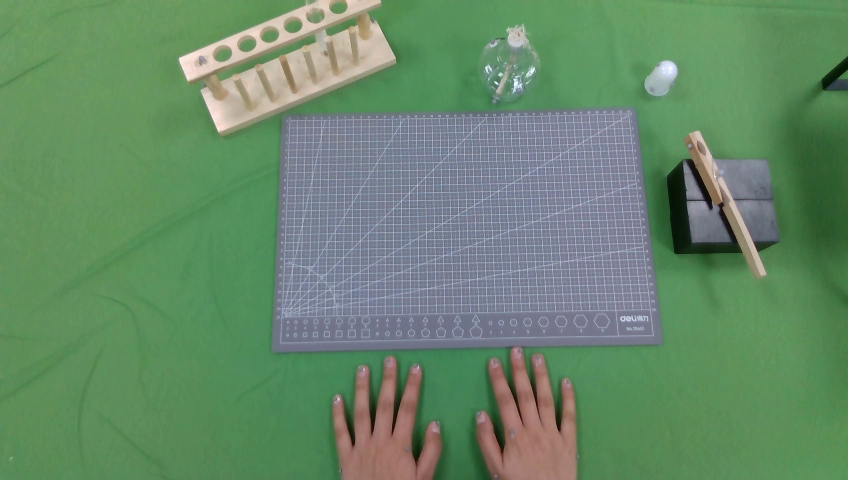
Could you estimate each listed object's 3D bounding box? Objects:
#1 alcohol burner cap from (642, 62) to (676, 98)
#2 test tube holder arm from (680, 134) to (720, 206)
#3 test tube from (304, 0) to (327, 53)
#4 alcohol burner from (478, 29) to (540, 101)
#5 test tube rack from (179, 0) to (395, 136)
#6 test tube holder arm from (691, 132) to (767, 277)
[{"bbox_3d":[0.299,-0.204,0.765,0.034,0.048,0.033,0,75,1],"label":"alcohol burner cap"},{"bbox_3d":[0.319,-0.080,0.694,0.010,0.015,0.087,-20,77,-7],"label":"test tube holder arm"},{"bbox_3d":[-0.129,-0.270,0.707,0.017,0.151,0.017,0,69,1],"label":"test tube"},{"bbox_3d":[0.105,-0.219,0.731,0.078,0.119,0.077,0,76,0],"label":"alcohol burner"},{"bbox_3d":[-0.160,-0.221,0.746,0.242,0.085,0.066,-25,76,-6],"label":"test tube rack"},{"bbox_3d":[0.341,-0.042,0.685,0.013,0.015,0.177,-21,78,-7],"label":"test tube holder arm"}]
